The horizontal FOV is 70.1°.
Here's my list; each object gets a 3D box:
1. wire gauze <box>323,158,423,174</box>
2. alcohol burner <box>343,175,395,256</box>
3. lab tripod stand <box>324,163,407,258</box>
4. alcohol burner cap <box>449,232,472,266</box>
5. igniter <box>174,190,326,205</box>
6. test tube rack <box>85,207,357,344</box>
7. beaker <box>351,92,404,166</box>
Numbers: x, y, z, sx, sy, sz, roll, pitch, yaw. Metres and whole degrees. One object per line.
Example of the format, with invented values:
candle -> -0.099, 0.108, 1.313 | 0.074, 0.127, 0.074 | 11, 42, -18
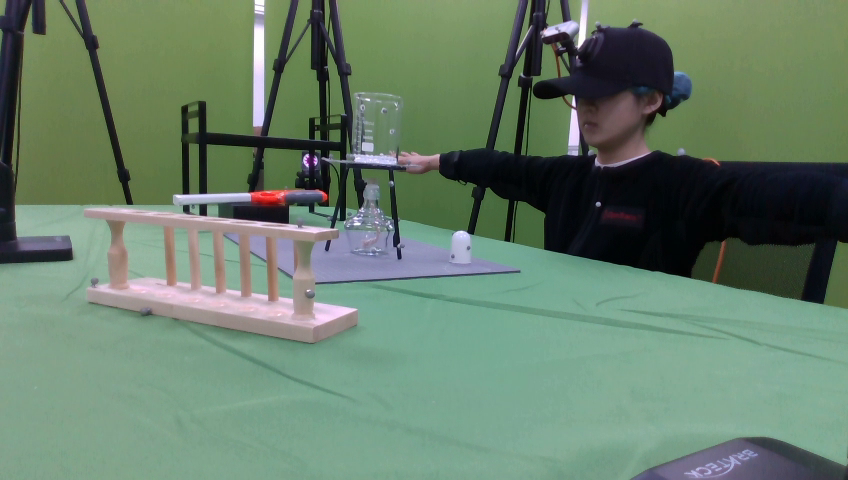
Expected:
wire gauze -> -0.079, -0.111, 0.893 | 0.122, 0.011, 0.124 | 4, 3, -24
alcohol burner -> -0.079, -0.036, 0.890 | 0.078, 0.119, 0.078 | 5, 7, 0
lab tripod stand -> -0.073, -0.047, 0.900 | 0.148, 0.131, 0.148 | 2, 5, 0
alcohol burner cap -> 0.052, 0.012, 0.843 | 0.034, 0.048, 0.034 | 2, 6, 0
igniter -> -0.317, -0.079, 1.132 | 0.278, 0.025, 0.057 | -4, 12, -32
test tube rack -> -0.177, 0.022, 0.518 | 0.241, 0.085, 0.067 | 6, 7, 23
beaker -> -0.068, -0.159, 0.886 | 0.084, 0.100, 0.073 | 0, 8, -39
